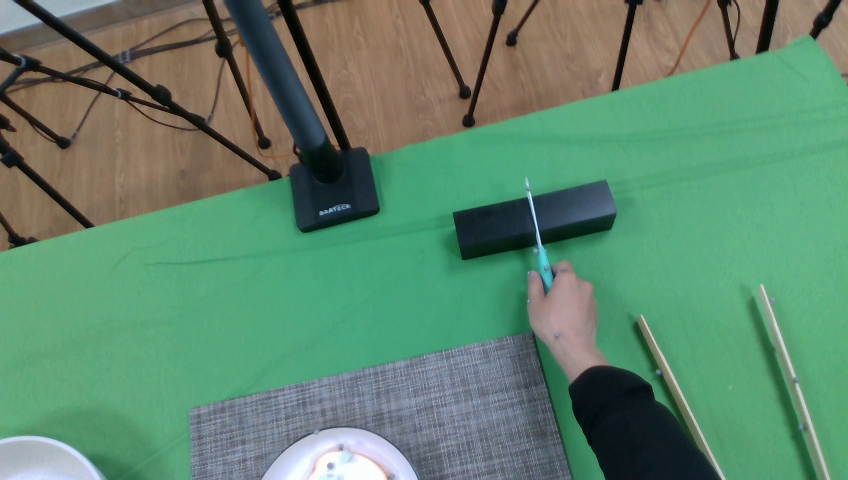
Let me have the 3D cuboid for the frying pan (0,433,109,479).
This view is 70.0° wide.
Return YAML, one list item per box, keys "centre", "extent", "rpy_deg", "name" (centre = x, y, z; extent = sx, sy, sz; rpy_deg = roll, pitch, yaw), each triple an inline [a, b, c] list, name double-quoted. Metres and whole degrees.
- centre: [-0.456, 0.460, 0.647]
  extent: [0.307, 0.104, 0.482]
  rpy_deg: [-17, 57, 2]
  name: "frying pan"

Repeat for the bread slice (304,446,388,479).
- centre: [-0.099, 0.307, 0.695]
  extent: [0.107, 0.018, 0.133]
  rpy_deg: [9, 70, 11]
  name: "bread slice"

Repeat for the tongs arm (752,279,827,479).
- centre: [0.403, 0.229, 0.660]
  extent: [0.051, 0.027, 0.381]
  rpy_deg: [-10, 68, 4]
  name: "tongs arm"

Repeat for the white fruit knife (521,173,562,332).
- centre: [0.144, 0.013, 0.764]
  extent: [0.016, 0.027, 0.206]
  rpy_deg: [-11, 80, 1]
  name: "white fruit knife"

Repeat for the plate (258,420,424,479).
- centre: [-0.095, 0.314, 0.690]
  extent: [0.207, 0.039, 0.206]
  rpy_deg: [-3, 67, 7]
  name: "plate"

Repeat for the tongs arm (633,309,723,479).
- centre: [0.327, 0.250, 0.666]
  extent: [0.028, 0.028, 0.384]
  rpy_deg: [-20, 67, -4]
  name: "tongs arm"
